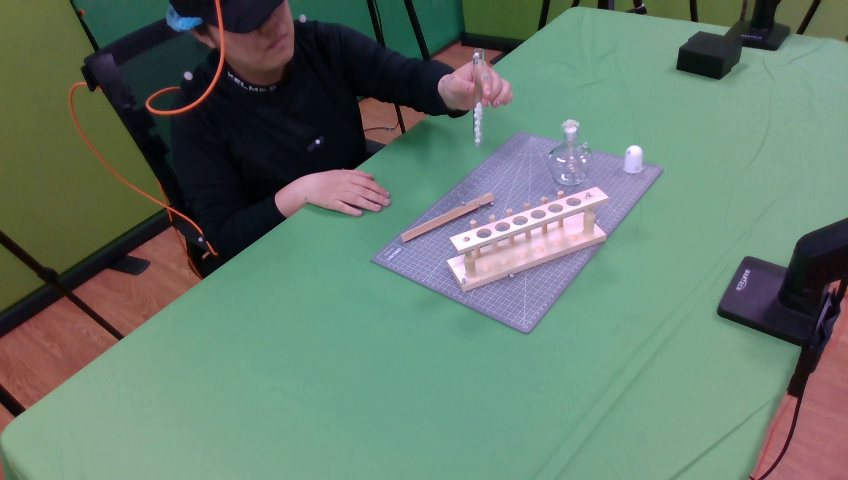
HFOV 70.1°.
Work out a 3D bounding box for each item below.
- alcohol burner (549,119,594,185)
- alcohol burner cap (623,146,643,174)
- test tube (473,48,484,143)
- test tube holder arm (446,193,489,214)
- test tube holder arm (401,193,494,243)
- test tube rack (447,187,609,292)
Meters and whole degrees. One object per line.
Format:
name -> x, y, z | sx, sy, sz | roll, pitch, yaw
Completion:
alcohol burner -> 0.254, -0.155, 1.043 | 0.078, 0.120, 0.077 | -7, 40, 6
alcohol burner cap -> 0.369, -0.142, 1.061 | 0.034, 0.048, 0.033 | -6, 40, 6
test tube -> 0.082, -0.212, 0.906 | 0.017, 0.151, 0.017 | -2, 40, 2
test tube holder arm -> 0.078, -0.058, 1.037 | 0.088, 0.015, 0.010 | -26, 9, -18
test tube holder arm -> 0.042, -0.038, 1.018 | 0.179, 0.015, 0.013 | -26, 9, -18
test tube rack -> 0.155, -0.011, 0.913 | 0.243, 0.085, 0.066 | -19, 41, -11
